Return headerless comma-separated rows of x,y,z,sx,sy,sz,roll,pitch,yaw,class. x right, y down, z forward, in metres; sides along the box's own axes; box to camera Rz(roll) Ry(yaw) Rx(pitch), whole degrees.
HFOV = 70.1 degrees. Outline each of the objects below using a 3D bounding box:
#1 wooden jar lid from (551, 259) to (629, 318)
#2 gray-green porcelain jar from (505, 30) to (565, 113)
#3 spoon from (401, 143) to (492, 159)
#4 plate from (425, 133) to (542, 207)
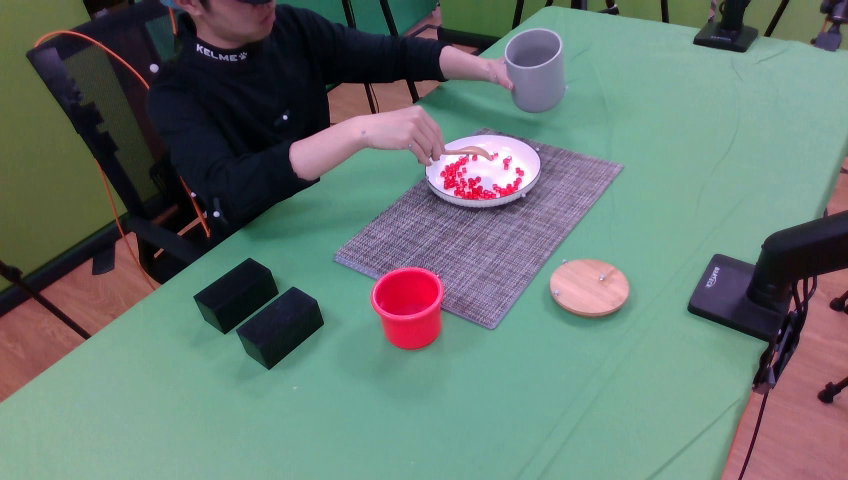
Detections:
0.234,0.070,0.857,0.108,0.021,0.108,-5,40,4,wooden jar lid
0.213,-0.314,1.149,0.105,0.127,0.105,-7,56,12,gray-green porcelain jar
0.041,-0.148,1.014,0.195,0.021,0.041,-5,23,-38,spoon
0.106,-0.122,1.079,0.207,0.039,0.206,-4,41,4,plate
